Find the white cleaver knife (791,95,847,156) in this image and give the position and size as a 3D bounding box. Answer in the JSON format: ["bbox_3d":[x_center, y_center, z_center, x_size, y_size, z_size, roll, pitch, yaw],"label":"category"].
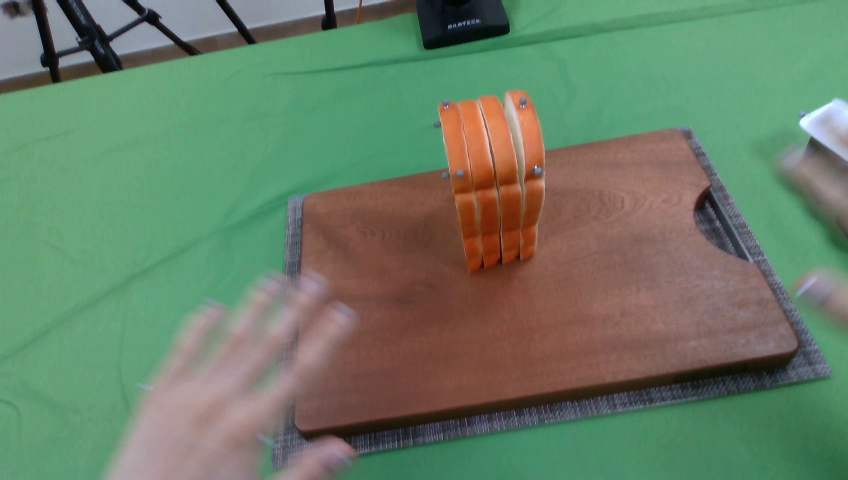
[{"bbox_3d":[0.426,-0.039,0.498,0.066,0.022,0.283,-22,53,-8],"label":"white cleaver knife"}]

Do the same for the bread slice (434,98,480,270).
[{"bbox_3d":[0.028,-0.056,0.532,0.018,0.135,0.106,-11,48,2],"label":"bread slice"}]

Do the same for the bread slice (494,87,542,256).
[{"bbox_3d":[0.081,-0.065,0.531,0.019,0.133,0.104,-8,52,-3],"label":"bread slice"}]
